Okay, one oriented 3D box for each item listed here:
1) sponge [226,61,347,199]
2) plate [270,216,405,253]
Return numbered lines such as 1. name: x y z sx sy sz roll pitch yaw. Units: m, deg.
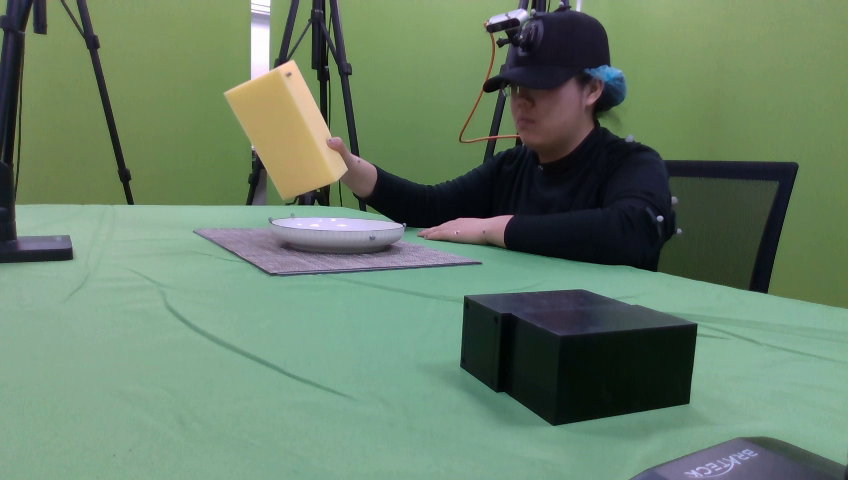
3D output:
1. sponge: -0.234 -0.186 1.047 0.118 0.207 0.061 -14 24 23
2. plate: -0.134 -0.009 0.946 0.208 0.039 0.207 3 7 0
